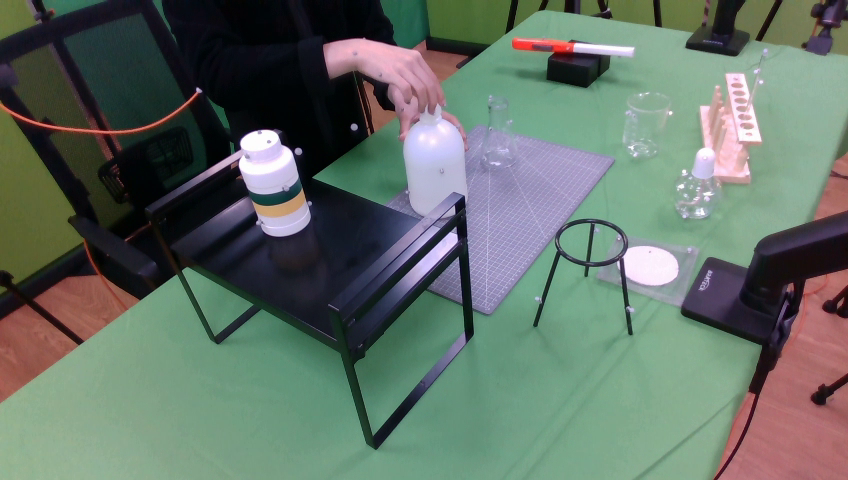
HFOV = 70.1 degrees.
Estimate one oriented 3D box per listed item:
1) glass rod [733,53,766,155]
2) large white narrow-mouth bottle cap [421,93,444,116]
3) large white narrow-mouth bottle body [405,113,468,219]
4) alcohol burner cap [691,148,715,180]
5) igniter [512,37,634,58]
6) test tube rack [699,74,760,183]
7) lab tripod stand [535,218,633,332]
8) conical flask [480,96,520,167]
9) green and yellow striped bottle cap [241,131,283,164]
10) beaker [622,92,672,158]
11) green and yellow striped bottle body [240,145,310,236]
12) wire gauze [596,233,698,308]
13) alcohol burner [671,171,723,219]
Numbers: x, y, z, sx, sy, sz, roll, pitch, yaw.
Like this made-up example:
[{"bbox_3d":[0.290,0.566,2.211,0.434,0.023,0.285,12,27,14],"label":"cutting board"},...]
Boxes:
[{"bbox_3d":[0.540,-0.219,1.006,0.008,0.201,0.008,-5,45,6],"label":"glass rod"},{"bbox_3d":[0.013,-0.210,0.937,0.038,0.024,0.037,-3,39,3],"label":"large white narrow-mouth bottle cap"},{"bbox_3d":[0.019,-0.136,0.998,0.102,0.195,0.101,-3,40,3],"label":"large white narrow-mouth bottle body"},{"bbox_3d":[0.432,-0.120,0.930,0.034,0.048,0.033,-7,48,8],"label":"alcohol burner cap"},{"bbox_3d":[0.328,-0.433,1.360,0.275,0.025,0.057,12,33,20],"label":"igniter"},{"bbox_3d":[0.547,-0.208,1.095,0.066,0.085,0.242,6,42,16],"label":"test tube rack"},{"bbox_3d":[0.215,0.050,0.803,0.148,0.132,0.147,-4,42,4],"label":"lab tripod stand"},{"bbox_3d":[0.138,-0.201,1.111,0.075,0.122,0.075,-4,40,4],"label":"conical flask"},{"bbox_3d":[-0.187,-0.107,0.695,0.045,0.020,0.045,-3,39,3],"label":"green and yellow striped bottle cap"},{"bbox_3d":[0.402,-0.210,1.106,0.074,0.101,0.083,-8,40,-2],"label":"beaker"},{"bbox_3d":[-0.181,-0.069,0.729,0.063,0.120,0.063,-4,40,4],"label":"green and yellow striped bottle body"},{"bbox_3d":[0.331,0.038,0.897,0.124,0.011,0.121,18,47,26],"label":"wire gauze"},{"bbox_3d":[0.434,-0.093,0.955,0.078,0.119,0.077,-3,43,4],"label":"alcohol burner"}]
